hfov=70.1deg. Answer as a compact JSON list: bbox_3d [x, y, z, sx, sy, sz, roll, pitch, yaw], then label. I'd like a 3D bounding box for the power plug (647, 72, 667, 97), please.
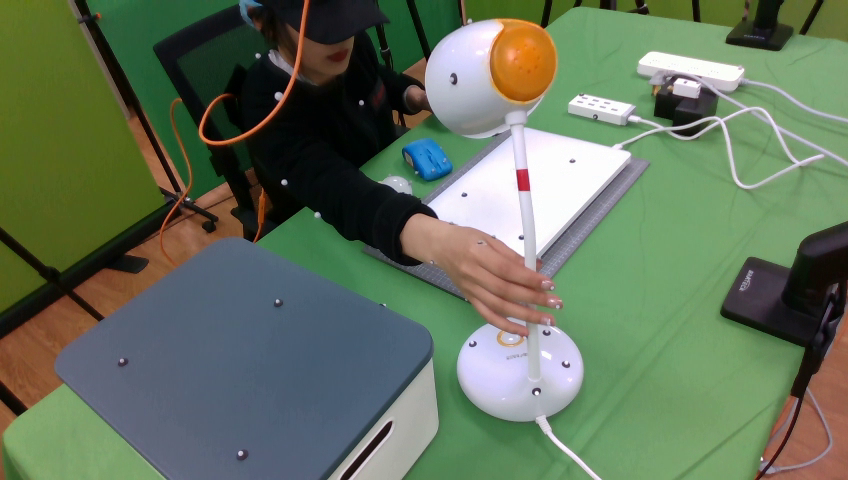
[{"bbox_3d":[0.494,-0.321,1.261,0.073,0.052,0.035,0,21,-40],"label":"power plug"}]

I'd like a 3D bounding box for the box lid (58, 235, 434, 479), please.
[{"bbox_3d":[-0.198,0.123,0.653,0.368,0.015,0.264,21,49,32],"label":"box lid"}]

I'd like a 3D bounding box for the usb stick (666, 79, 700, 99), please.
[{"bbox_3d":[0.492,-0.288,1.152,0.058,0.027,0.021,20,51,34],"label":"usb stick"}]

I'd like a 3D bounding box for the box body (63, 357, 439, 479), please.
[{"bbox_3d":[-0.189,0.178,0.702,0.361,0.161,0.255,22,49,32],"label":"box body"}]

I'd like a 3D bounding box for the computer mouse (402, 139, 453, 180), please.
[{"bbox_3d":[0.005,-0.159,1.165,0.063,0.041,0.116,-21,45,-17],"label":"computer mouse"}]

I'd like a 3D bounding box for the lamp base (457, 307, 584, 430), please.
[{"bbox_3d":[0.116,0.108,0.713,0.161,0.181,0.178,-16,43,-8],"label":"lamp base"}]

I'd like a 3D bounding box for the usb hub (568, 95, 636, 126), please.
[{"bbox_3d":[0.360,-0.264,1.228,0.124,0.025,0.049,24,49,33],"label":"usb hub"}]

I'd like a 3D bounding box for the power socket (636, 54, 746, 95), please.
[{"bbox_3d":[0.564,-0.357,1.293,0.225,0.033,0.072,24,51,33],"label":"power socket"}]

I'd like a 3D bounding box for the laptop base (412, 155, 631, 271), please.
[{"bbox_3d":[0.176,-0.084,1.055,0.233,0.023,0.355,21,48,36],"label":"laptop base"}]

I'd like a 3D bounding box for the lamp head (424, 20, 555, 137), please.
[{"bbox_3d":[0.069,-0.153,0.572,0.113,0.112,0.122,-21,16,-14],"label":"lamp head"}]

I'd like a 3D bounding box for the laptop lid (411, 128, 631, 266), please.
[{"bbox_3d":[0.173,-0.093,1.049,0.239,0.013,0.358,24,50,36],"label":"laptop lid"}]

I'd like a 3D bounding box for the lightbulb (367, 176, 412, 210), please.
[{"bbox_3d":[-0.066,-0.086,1.083,0.060,0.060,0.107,-38,32,-30],"label":"lightbulb"}]
